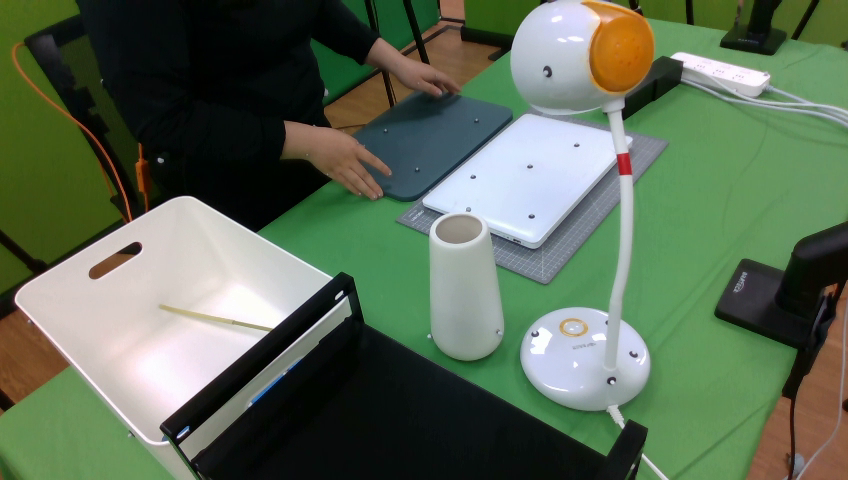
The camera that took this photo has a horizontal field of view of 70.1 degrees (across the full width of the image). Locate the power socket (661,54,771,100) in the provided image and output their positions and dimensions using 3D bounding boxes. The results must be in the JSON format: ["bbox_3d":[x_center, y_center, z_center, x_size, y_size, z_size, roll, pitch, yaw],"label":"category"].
[{"bbox_3d":[0.615,-0.349,1.285,0.072,0.033,0.225,-36,48,-28],"label":"power socket"}]

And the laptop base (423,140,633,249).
[{"bbox_3d":[0.194,-0.117,1.087,0.233,0.023,0.355,20,47,34],"label":"laptop base"}]

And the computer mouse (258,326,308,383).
[{"bbox_3d":[-0.160,0.157,0.792,0.116,0.041,0.063,27,47,23],"label":"computer mouse"}]

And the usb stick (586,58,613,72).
[{"bbox_3d":[0.401,-0.399,1.381,0.059,0.027,0.021,1,49,21],"label":"usb stick"}]

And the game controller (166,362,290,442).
[{"bbox_3d":[-0.233,0.210,0.737,0.096,0.052,0.155,27,52,32],"label":"game controller"}]

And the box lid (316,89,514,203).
[{"bbox_3d":[-0.012,-0.207,1.236,0.261,0.015,0.372,22,48,31],"label":"box lid"}]

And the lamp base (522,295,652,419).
[{"bbox_3d":[0.201,0.095,0.710,0.161,0.181,0.177,-16,43,-10],"label":"lamp base"}]

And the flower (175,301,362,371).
[{"bbox_3d":[-0.233,0.119,0.832,0.359,0.038,0.044,9,84,33],"label":"flower"}]

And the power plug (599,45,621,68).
[{"bbox_3d":[0.437,-0.422,1.412,0.053,0.035,0.072,-18,75,-47],"label":"power plug"}]

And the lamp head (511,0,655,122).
[{"bbox_3d":[0.155,-0.168,0.564,0.113,0.113,0.122,-18,23,-12],"label":"lamp head"}]

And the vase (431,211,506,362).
[{"bbox_3d":[0.054,0.062,0.757,0.098,0.201,0.097,-3,40,3],"label":"vase"}]

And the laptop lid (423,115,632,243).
[{"bbox_3d":[0.190,-0.126,1.081,0.239,0.013,0.358,23,48,34],"label":"laptop lid"}]

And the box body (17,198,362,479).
[{"bbox_3d":[-0.285,0.123,0.766,0.361,0.161,0.255,25,49,33],"label":"box body"}]
